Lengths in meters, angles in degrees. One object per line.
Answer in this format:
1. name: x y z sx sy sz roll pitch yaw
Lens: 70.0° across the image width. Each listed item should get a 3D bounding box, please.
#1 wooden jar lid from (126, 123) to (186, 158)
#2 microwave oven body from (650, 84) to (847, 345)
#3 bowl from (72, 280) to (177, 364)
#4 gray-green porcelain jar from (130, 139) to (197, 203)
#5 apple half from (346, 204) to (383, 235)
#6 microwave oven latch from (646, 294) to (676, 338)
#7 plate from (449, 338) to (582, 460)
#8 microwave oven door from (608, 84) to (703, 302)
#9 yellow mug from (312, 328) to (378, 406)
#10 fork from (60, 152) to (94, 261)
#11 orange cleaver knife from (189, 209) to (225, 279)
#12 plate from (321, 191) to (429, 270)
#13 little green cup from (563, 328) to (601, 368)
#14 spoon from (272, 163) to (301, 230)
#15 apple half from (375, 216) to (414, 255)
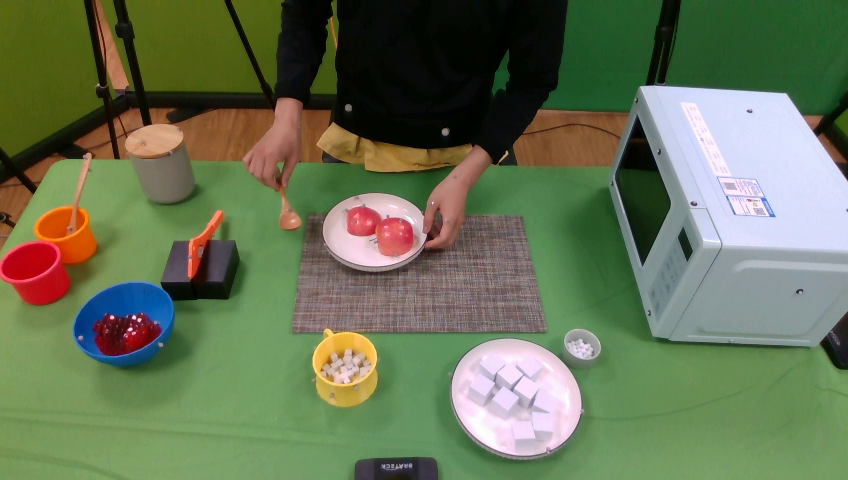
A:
1. wooden jar lid: -0.519 -0.190 1.179 0.108 0.021 0.107 2 44 -2
2. microwave oven body: 0.569 -0.054 1.116 0.326 0.261 0.439 2 46 -1
3. bowl: -0.473 0.147 0.982 0.151 0.077 0.150 2 46 -2
4. gray-green porcelain jar: -0.522 -0.148 1.225 0.106 0.127 0.105 2 47 -2
5. apple half: -0.119 -0.049 1.207 0.081 0.033 0.081 2 50 -3
6. microwave oven latch: 0.413 0.133 1.061 0.030 0.029 0.078 4 46 1
7. plate: 0.141 0.251 0.956 0.208 0.039 0.206 2 46 -2
8. microwave oven door: 0.424 -0.096 1.138 0.039 0.245 0.353 2 47 -1
9. yellow mug: -0.132 0.193 0.971 0.100 0.064 0.130 -22 51 -22
10. fork: -0.638 -0.063 1.119 0.028 0.018 0.207 12 90 6
11. orange cleaver knife: -0.401 0.002 1.122 0.012 0.077 0.210 4 23 -4
12. plate: -0.094 -0.015 1.185 0.209 0.038 0.208 2 46 -2
13. little green cup: 0.265 0.184 1.025 0.061 0.039 0.061 1 46 -1
14. spoon: -0.272 -0.087 1.170 0.041 0.022 0.192 -15 54 -10
15. apple half: -0.056 -0.017 1.169 0.075 0.053 0.080 0 46 -7
